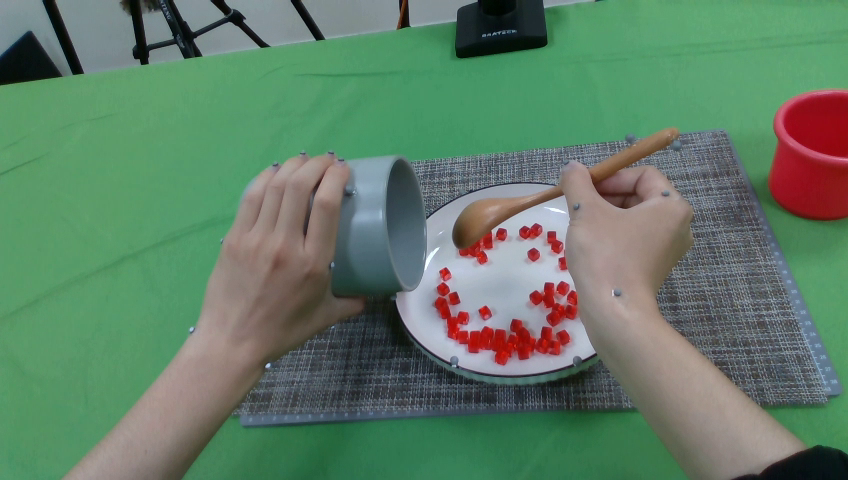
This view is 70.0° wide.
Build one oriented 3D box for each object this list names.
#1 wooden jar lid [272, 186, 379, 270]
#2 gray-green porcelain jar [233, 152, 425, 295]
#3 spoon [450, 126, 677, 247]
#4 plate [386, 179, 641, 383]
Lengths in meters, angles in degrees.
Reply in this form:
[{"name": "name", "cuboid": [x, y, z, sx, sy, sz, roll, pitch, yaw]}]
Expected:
[{"name": "wooden jar lid", "cuboid": [-0.097, -0.011, 0.606, 0.108, 0.021, 0.107, -6, 46, 7]}, {"name": "gray-green porcelain jar", "cuboid": [-0.073, -0.010, 0.473, 0.126, 0.107, 0.105, -3, 48, 15]}, {"name": "spoon", "cuboid": [0.091, -0.038, 0.445, 0.193, 0.022, 0.041, -22, 45, 34]}, {"name": "plate", "cuboid": [0.073, 0.033, 0.513, 0.207, 0.039, 0.205, -7, 47, 8]}]
